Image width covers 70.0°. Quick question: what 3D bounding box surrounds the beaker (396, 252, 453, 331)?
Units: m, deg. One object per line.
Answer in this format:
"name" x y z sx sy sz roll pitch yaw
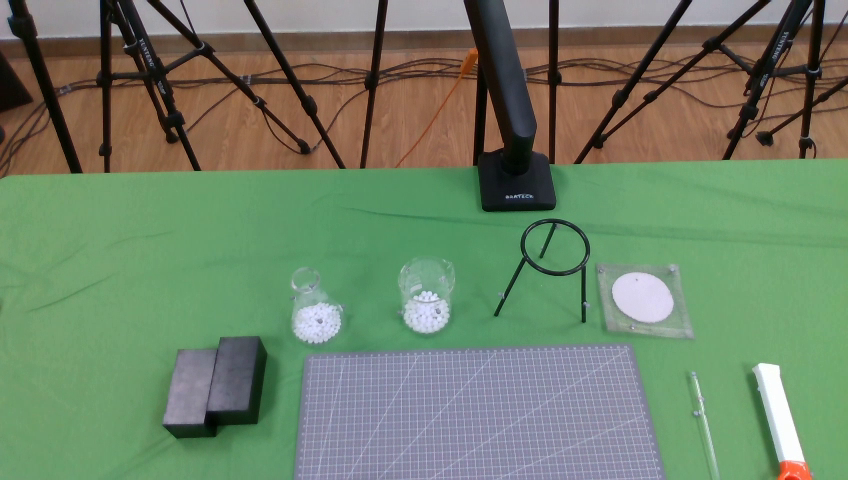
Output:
"beaker" 0.003 0.073 0.829 0.084 0.101 0.073 -35 62 -22

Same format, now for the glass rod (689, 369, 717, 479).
"glass rod" 0.354 0.256 0.757 0.008 0.008 0.198 2 58 1

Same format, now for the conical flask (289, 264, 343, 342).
"conical flask" -0.152 0.079 0.810 0.075 0.123 0.074 0 55 0

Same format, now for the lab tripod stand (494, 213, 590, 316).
"lab tripod stand" 0.166 0.040 0.832 0.148 0.132 0.147 0 57 0

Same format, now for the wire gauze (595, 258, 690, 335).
"wire gauze" 0.317 0.078 0.883 0.125 0.011 0.120 4 56 0

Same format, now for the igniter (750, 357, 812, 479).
"igniter" 0.446 0.273 0.734 0.057 0.025 0.274 9 55 -7
